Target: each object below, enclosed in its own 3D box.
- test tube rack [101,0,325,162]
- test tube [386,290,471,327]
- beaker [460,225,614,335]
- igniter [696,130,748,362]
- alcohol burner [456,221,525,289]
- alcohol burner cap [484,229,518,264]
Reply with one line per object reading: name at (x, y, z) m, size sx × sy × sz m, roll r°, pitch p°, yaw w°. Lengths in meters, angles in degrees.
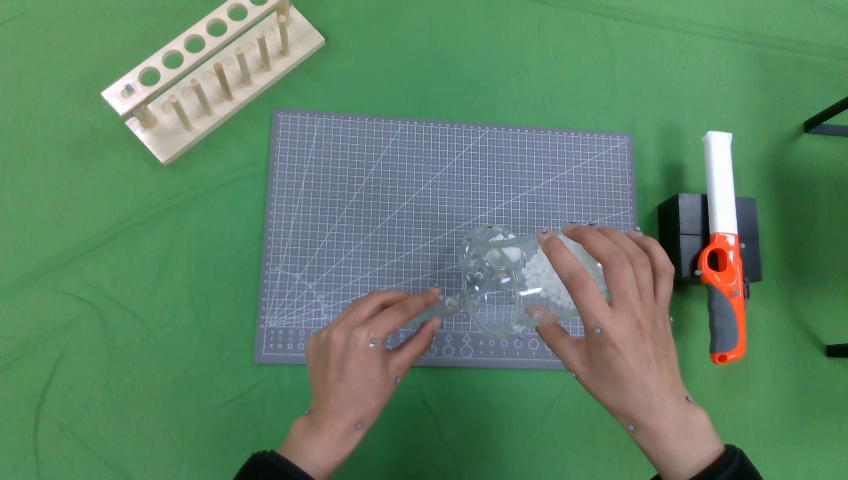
test tube rack at (-0.226, -0.200, 0.683) m, size 0.242 × 0.085 × 0.066 m, roll -42°, pitch 86°, yaw -14°
test tube at (-0.001, 0.064, 0.549) m, size 0.017 × 0.150 × 0.017 m, roll 7°, pitch 74°, yaw -25°
beaker at (0.088, 0.029, 0.473) m, size 0.101 × 0.084 × 0.073 m, roll -9°, pitch 75°, yaw -26°
igniter at (0.342, 0.003, 0.700) m, size 0.057 × 0.025 × 0.275 m, roll 6°, pitch 75°, yaw -4°
alcohol burner at (0.077, 0.012, 0.663) m, size 0.078 × 0.119 × 0.077 m, roll 2°, pitch 76°, yaw -8°
alcohol burner cap at (0.082, 0.005, 0.628) m, size 0.034 × 0.048 × 0.033 m, roll 1°, pitch 80°, yaw -3°
